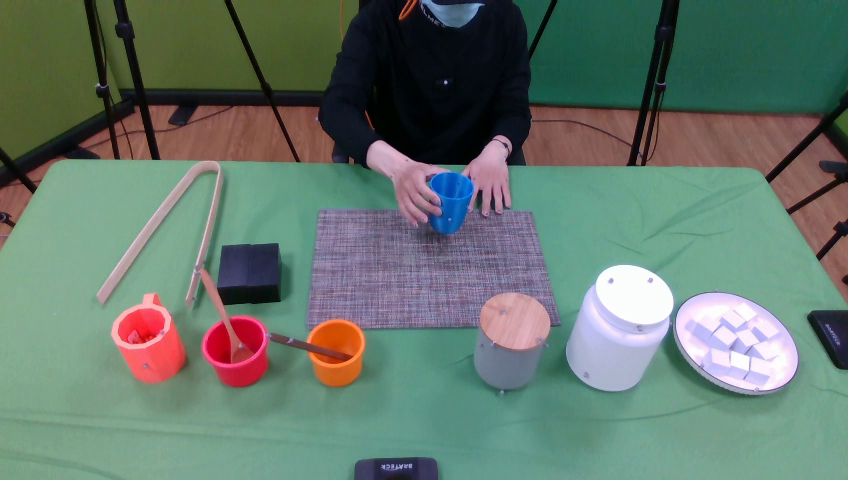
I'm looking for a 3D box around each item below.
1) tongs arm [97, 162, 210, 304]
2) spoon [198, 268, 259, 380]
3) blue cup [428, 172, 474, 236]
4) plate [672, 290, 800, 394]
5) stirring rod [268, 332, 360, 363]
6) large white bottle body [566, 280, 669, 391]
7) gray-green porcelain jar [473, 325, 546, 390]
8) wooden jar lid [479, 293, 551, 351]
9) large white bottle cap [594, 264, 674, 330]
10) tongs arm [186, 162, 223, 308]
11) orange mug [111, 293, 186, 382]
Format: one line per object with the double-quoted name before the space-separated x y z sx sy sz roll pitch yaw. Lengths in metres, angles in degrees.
"tongs arm" -0.519 -0.028 1.183 0.028 0.028 0.385 5 45 12
"spoon" -0.312 0.132 0.962 0.041 0.021 0.194 -24 96 -22
"blue cup" 0.045 -0.063 1.157 0.093 0.100 0.092 5 43 -4
"plate" 0.533 0.178 1.050 0.208 0.039 0.206 2 46 -2
"stirring rod" -0.167 0.169 0.942 0.177 0.006 0.014 26 25 -41
"large white bottle body" 0.310 0.142 0.968 0.131 0.185 0.130 2 46 -2
"gray-green porcelain jar" 0.135 0.170 0.969 0.106 0.127 0.105 2 46 -2
"wooden jar lid" 0.137 0.127 0.925 0.108 0.021 0.107 1 47 -1
"large white bottle cap" 0.314 0.083 0.906 0.115 0.018 0.114 2 46 -2
"tongs arm" -0.436 -0.025 1.181 0.051 0.027 0.382 -3 45 0
"orange mug" -0.435 0.149 0.969 0.083 0.101 0.125 -5 51 -8
